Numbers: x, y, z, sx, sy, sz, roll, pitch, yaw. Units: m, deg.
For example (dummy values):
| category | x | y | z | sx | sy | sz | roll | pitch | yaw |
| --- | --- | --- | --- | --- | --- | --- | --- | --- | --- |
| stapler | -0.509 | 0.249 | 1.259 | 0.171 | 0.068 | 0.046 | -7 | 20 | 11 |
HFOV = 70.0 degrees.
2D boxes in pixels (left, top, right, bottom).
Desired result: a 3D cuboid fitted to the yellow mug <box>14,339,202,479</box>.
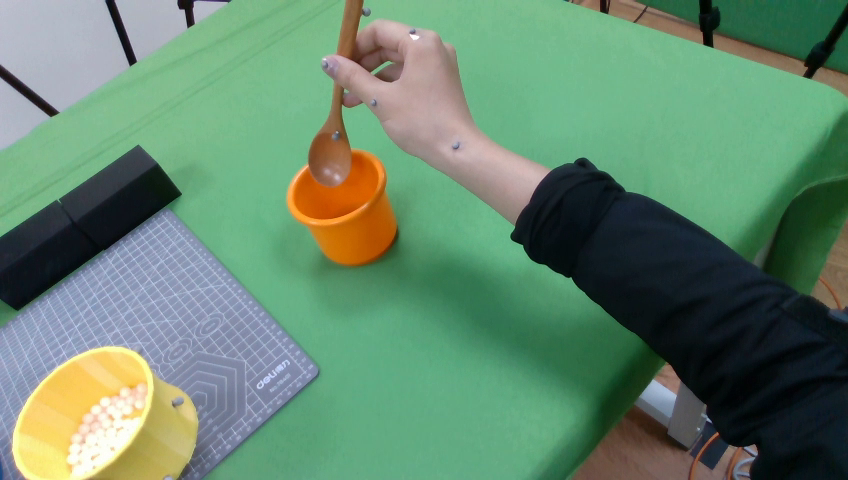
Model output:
| category | x | y | z | sx | sy | sz | roll | pitch | yaw |
| --- | --- | --- | --- | --- | --- | --- | --- | --- | --- |
| yellow mug | -0.225 | 0.142 | 0.423 | 0.099 | 0.064 | 0.130 | 6 | 55 | 19 |

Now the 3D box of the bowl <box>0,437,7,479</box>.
| category | x | y | z | sx | sy | sz | roll | pitch | yaw |
| --- | --- | --- | --- | --- | --- | --- | --- | --- | --- |
| bowl | -0.378 | 0.200 | 0.457 | 0.151 | 0.077 | 0.150 | -7 | 51 | 9 |

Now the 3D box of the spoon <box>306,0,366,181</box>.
| category | x | y | z | sx | sy | sz | roll | pitch | yaw |
| --- | --- | --- | --- | --- | --- | --- | --- | --- | --- |
| spoon | -0.066 | -0.122 | 0.482 | 0.041 | 0.195 | 0.021 | 24 | 48 | 3 |
